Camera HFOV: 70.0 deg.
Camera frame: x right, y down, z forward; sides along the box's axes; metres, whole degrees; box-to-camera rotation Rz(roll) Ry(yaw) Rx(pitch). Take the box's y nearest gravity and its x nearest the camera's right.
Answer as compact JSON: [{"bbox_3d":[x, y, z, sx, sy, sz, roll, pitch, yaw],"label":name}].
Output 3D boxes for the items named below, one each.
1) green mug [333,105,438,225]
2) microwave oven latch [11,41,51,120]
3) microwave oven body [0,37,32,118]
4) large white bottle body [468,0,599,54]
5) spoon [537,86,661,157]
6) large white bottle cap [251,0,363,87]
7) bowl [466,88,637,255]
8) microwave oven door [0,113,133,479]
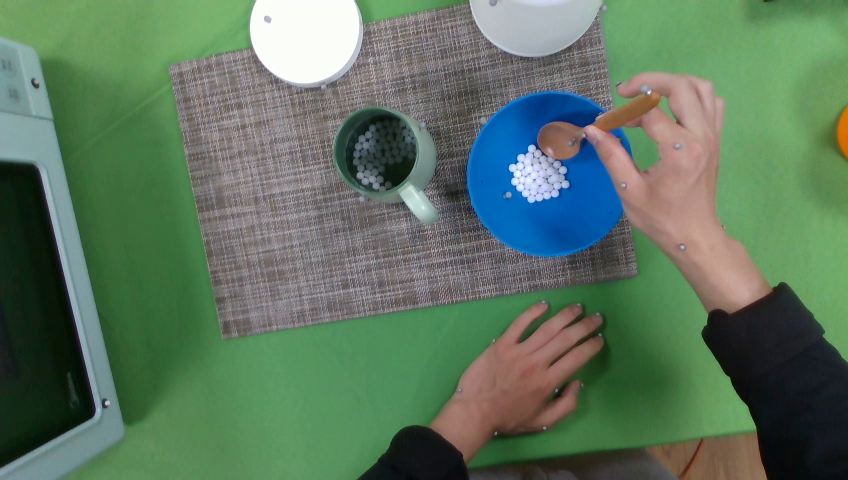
[{"bbox_3d":[-0.027,-0.068,0.583,0.092,0.105,0.125,-37,90,7],"label":"green mug"},{"bbox_3d":[-0.417,-0.164,0.631,0.030,0.029,0.079,-11,94,6],"label":"microwave oven latch"},{"bbox_3d":[-0.536,0.045,0.563,0.326,0.260,0.442,-11,94,6],"label":"microwave oven body"},{"bbox_3d":[0.098,-0.248,0.515,0.130,0.185,0.130,0,91,6],"label":"large white bottle body"},{"bbox_3d":[0.138,-0.094,0.500,0.021,0.193,0.042,-45,98,-5],"label":"spoon"},{"bbox_3d":[-0.120,-0.216,0.622,0.115,0.018,0.115,0,94,5],"label":"large white bottle cap"},{"bbox_3d":[0.117,-0.063,0.582,0.151,0.077,0.151,0,95,6],"label":"bowl"},{"bbox_3d":[-0.386,0.058,0.545,0.039,0.244,0.356,-12,93,7],"label":"microwave oven door"}]
